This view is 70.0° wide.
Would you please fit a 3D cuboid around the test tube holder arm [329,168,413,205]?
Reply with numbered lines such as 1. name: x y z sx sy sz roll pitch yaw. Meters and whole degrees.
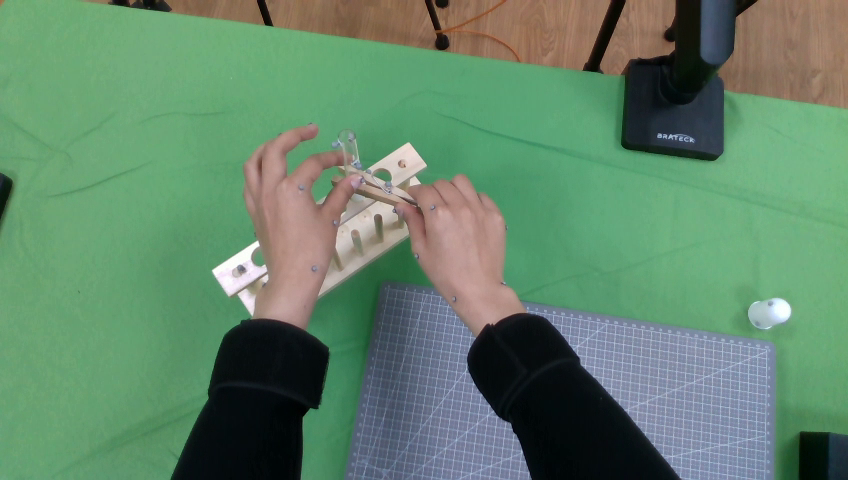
1. test tube holder arm: -0.050 -0.052 0.593 0.087 0.015 0.010 18 77 8

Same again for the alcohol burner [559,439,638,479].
1. alcohol burner: 0.174 0.233 0.586 0.078 0.119 0.077 1 73 -3

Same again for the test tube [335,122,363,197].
1. test tube: -0.070 -0.069 0.582 0.017 0.151 0.017 1 71 -2

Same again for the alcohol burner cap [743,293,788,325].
1. alcohol burner cap: 0.383 0.076 0.675 0.034 0.048 0.033 0 74 -1

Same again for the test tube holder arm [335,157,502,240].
1. test tube holder arm: -0.007 -0.041 0.587 0.178 0.015 0.013 23 79 10

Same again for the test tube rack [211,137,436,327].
1. test tube rack: -0.098 -0.006 0.660 0.242 0.085 0.066 -35 78 -10
